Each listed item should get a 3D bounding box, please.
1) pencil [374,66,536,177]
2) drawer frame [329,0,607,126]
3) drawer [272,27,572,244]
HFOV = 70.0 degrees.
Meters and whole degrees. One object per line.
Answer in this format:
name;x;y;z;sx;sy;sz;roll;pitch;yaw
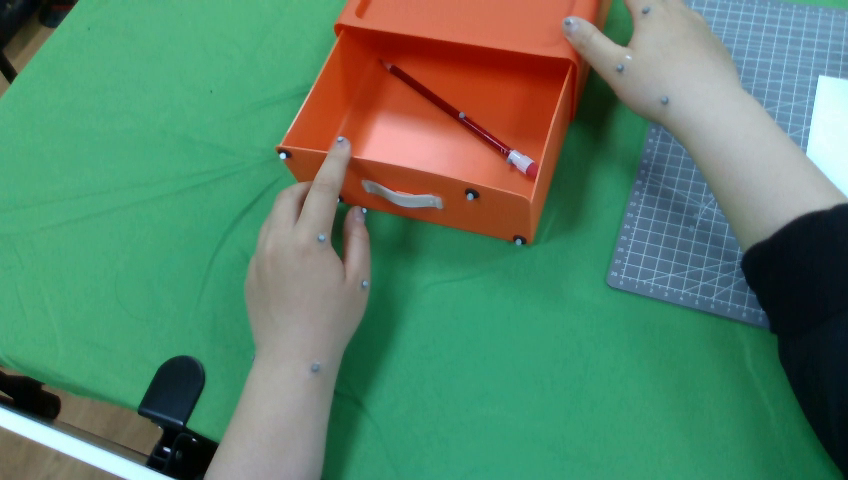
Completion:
pencil;0.020;-0.105;0.510;0.012;0.012;0.192;-44;62;-13
drawer frame;0.054;-0.219;0.529;0.201;0.083;0.212;13;65;17
drawer;0.015;-0.116;0.486;0.193;0.074;0.210;12;64;17
